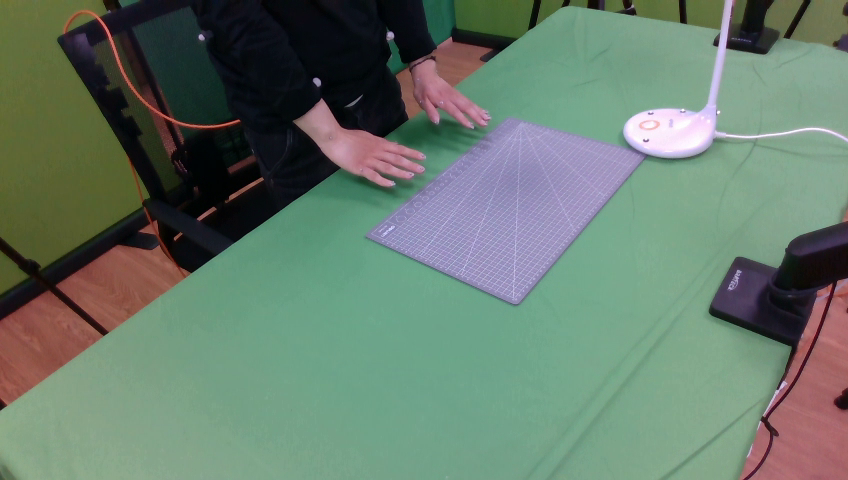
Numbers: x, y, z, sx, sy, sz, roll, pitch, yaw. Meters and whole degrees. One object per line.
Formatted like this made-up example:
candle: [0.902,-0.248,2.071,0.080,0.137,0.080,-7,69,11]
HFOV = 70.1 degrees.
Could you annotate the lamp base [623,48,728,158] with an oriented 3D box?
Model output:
lamp base: [0.462,-0.261,1.084,0.179,0.181,0.160,3,42,7]
